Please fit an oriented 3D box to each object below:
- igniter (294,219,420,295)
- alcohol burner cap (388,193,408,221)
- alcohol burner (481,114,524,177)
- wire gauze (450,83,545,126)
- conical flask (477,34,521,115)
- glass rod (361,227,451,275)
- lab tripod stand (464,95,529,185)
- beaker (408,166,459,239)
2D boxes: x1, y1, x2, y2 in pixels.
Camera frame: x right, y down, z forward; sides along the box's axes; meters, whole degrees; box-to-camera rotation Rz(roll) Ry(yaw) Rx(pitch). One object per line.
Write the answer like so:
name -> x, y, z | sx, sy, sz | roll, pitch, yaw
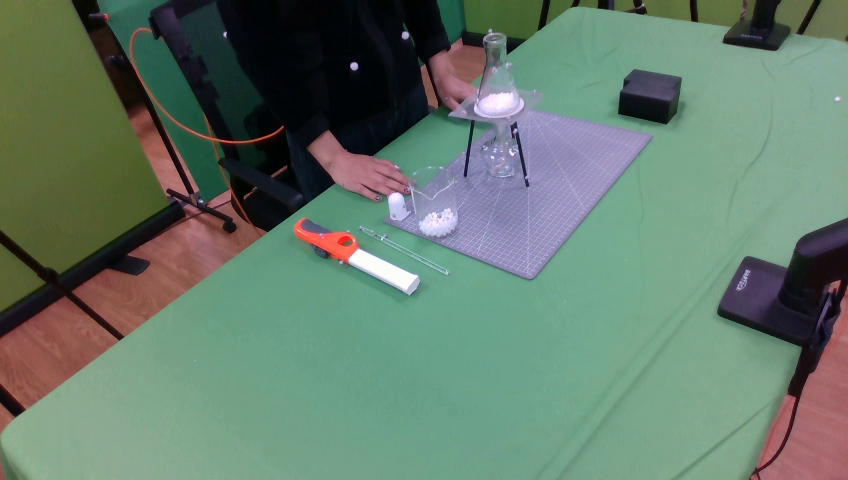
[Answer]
igniter -> -0.118, 0.022, 0.977 | 0.274, 0.025, 0.057 | 24, 60, 34
alcohol burner cap -> -0.047, -0.059, 1.043 | 0.034, 0.048, 0.033 | -6, 40, 5
alcohol burner -> 0.141, -0.174, 1.087 | 0.078, 0.119, 0.077 | -4, 40, 4
wire gauze -> 0.126, -0.232, 1.041 | 0.120, 0.011, 0.125 | 17, 48, 31
conical flask -> 0.121, -0.275, 0.999 | 0.075, 0.122, 0.075 | -5, 40, 5
glass rod -> -0.033, 0.015, 0.985 | 0.198, 0.008, 0.008 | 26, 52, 34
lab tripod stand -> 0.138, -0.182, 1.082 | 0.148, 0.132, 0.147 | -6, 38, 6
beaker -> 0.018, -0.057, 0.984 | 0.074, 0.101, 0.083 | -6, 41, 5
